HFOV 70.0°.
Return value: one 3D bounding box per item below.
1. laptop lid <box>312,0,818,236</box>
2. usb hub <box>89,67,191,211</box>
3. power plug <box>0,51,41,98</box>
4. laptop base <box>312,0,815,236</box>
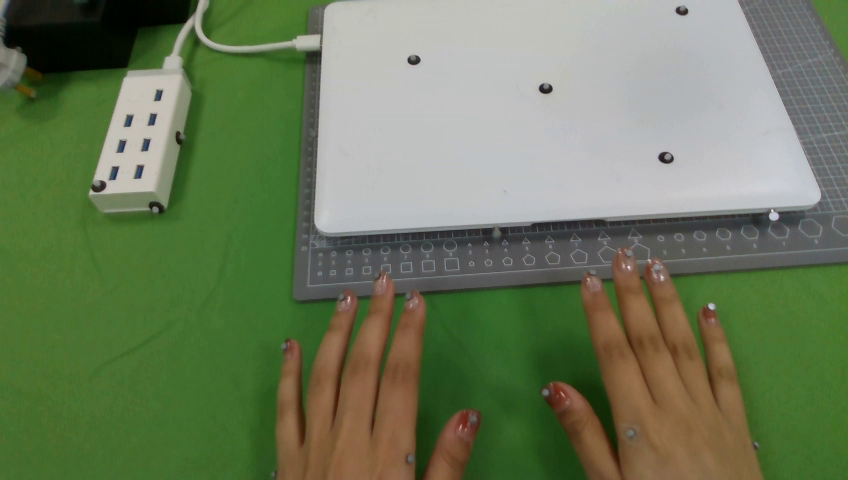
[{"bbox_3d":[0.093,-0.114,0.467,0.357,0.013,0.239,-2,62,0],"label":"laptop lid"},{"bbox_3d":[-0.215,-0.080,0.465,0.049,0.025,0.124,-3,59,1],"label":"usb hub"},{"bbox_3d":[-0.351,-0.132,0.492,0.072,0.053,0.035,-8,61,34],"label":"power plug"},{"bbox_3d":[0.093,-0.110,0.479,0.354,0.023,0.233,-3,63,-1],"label":"laptop base"}]
